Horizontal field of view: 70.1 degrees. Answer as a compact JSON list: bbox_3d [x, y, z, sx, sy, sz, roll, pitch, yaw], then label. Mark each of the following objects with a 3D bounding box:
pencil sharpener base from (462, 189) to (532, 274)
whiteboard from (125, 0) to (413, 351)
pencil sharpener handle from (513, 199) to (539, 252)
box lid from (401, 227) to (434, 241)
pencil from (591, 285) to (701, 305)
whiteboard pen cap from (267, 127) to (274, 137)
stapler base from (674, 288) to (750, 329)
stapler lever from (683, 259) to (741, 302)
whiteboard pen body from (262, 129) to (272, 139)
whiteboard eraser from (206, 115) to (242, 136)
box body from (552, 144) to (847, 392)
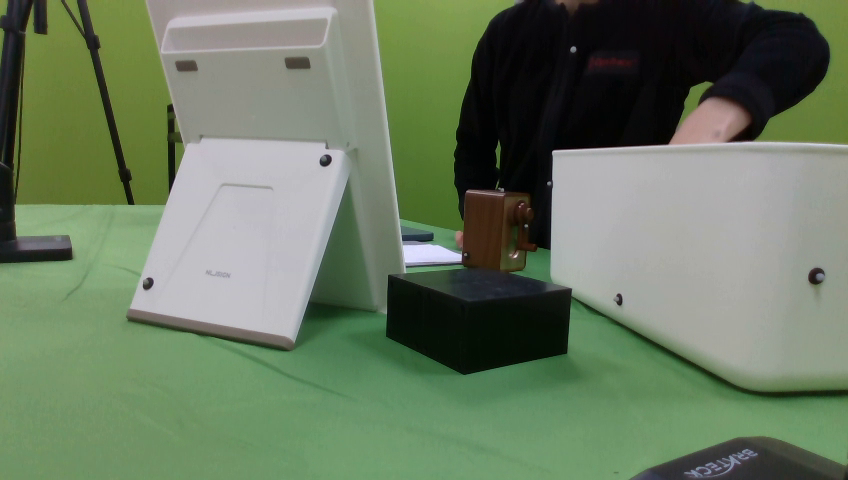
[{"bbox_3d":[0.099,-0.012,0.815,0.062,0.107,0.076,-4,10,-44],"label":"pencil sharpener base"},{"bbox_3d":[-0.151,-0.050,0.471,0.216,0.305,0.144,6,27,24],"label":"whiteboard"},{"bbox_3d":[0.135,-0.018,0.778,0.036,0.067,0.030,-1,8,-45],"label":"pencil sharpener handle"},{"bbox_3d":[-0.196,-0.015,1.105,0.373,0.015,0.262,-1,7,-32],"label":"box lid"},{"bbox_3d":[0.248,0.058,0.657,0.195,0.012,0.012,-2,9,-36],"label":"pencil"},{"bbox_3d":[-0.340,-0.239,1.337,0.018,0.018,0.033,1,-1,-14],"label":"whiteboard pen cap"},{"bbox_3d":[0.281,0.061,0.586,0.041,0.024,0.131,4,7,39],"label":"stapler base"},{"bbox_3d":[0.281,0.035,0.585,0.026,0.040,0.119,5,6,39],"label":"stapler lever"},{"bbox_3d":[-0.361,-0.245,1.393,0.017,0.017,0.140,0,5,-20],"label":"whiteboard pen body"},{"bbox_3d":[-0.438,-0.249,1.320,0.056,0.042,0.112,-3,9,-30],"label":"whiteboard eraser"},{"bbox_3d":[0.290,0.002,0.549,0.255,0.160,0.363,2,7,-10],"label":"box body"}]
